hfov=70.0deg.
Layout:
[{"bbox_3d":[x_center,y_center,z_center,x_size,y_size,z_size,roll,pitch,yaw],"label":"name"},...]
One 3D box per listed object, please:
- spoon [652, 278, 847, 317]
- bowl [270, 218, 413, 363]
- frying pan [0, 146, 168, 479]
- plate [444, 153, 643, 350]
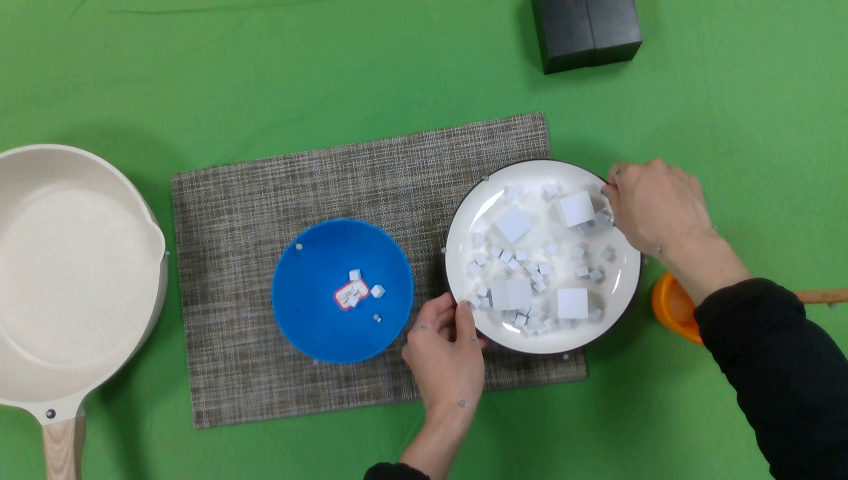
[{"bbox_3d":[0.315,0.053,0.588,0.022,0.193,0.041,0,84,-39],"label":"spoon"},{"bbox_3d":[-0.082,0.055,0.658,0.151,0.077,0.151,0,85,5],"label":"bowl"},{"bbox_3d":[-0.407,0.139,0.672,0.307,0.103,0.485,-13,75,5],"label":"frying pan"},{"bbox_3d":[0.126,0.012,0.653,0.207,0.039,0.207,0,89,4],"label":"plate"}]
